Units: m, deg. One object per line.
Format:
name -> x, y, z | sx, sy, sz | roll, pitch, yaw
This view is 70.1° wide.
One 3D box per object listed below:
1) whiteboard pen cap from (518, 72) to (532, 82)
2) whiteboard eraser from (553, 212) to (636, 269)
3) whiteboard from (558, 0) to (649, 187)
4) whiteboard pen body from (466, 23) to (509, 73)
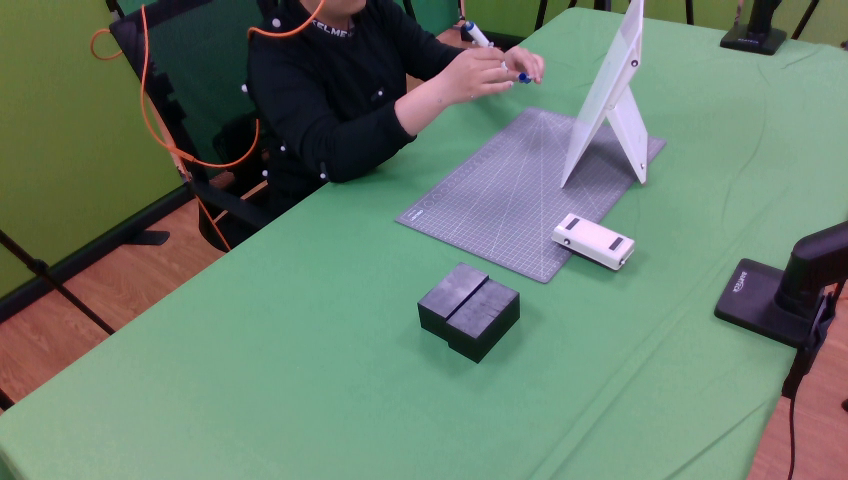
whiteboard pen cap -> 0.194, -0.312, 1.161 | 0.018, 0.018, 0.033 | -20, 14, -14
whiteboard eraser -> 0.258, 0.002, 0.918 | 0.112, 0.042, 0.056 | 27, 50, 30
whiteboard -> 0.362, -0.238, 1.026 | 0.144, 0.306, 0.217 | 21, 44, 3
whiteboard pen body -> 0.112, -0.323, 1.031 | 0.017, 0.142, 0.017 | -15, 63, 31
